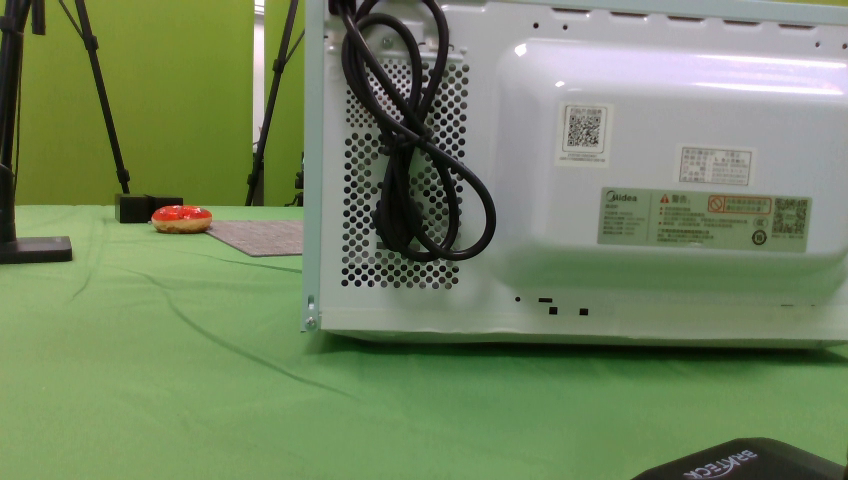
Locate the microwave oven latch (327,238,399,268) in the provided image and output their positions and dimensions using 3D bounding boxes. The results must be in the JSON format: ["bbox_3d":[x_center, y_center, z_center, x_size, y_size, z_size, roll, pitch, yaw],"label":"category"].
[{"bbox_3d":[-0.069,0.015,0.694,0.079,0.029,0.030,3,7,-3],"label":"microwave oven latch"}]

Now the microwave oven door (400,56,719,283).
[{"bbox_3d":[0.155,-0.077,0.697,0.356,0.243,0.039,2,8,-5],"label":"microwave oven door"}]

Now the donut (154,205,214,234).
[{"bbox_3d":[-0.426,-0.037,1.075,0.099,0.048,0.099,2,12,0],"label":"donut"}]

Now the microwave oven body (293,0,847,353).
[{"bbox_3d":[0.122,-0.055,0.550,0.442,0.260,0.325,3,7,-5],"label":"microwave oven body"}]
